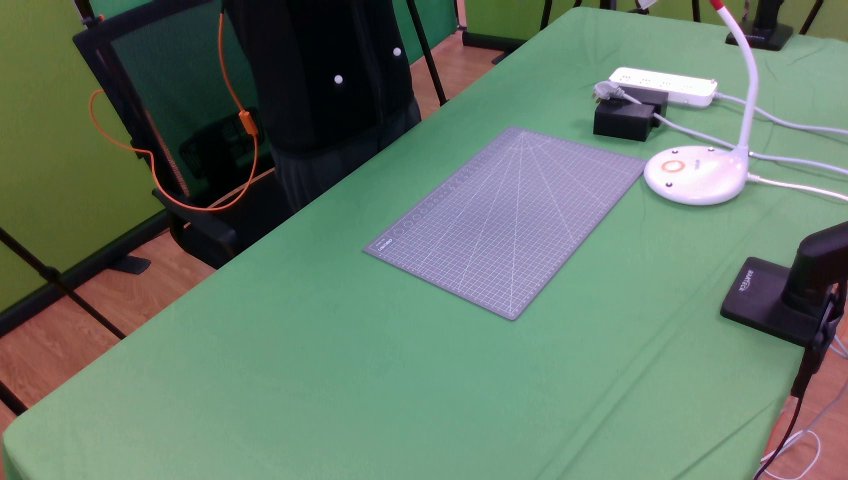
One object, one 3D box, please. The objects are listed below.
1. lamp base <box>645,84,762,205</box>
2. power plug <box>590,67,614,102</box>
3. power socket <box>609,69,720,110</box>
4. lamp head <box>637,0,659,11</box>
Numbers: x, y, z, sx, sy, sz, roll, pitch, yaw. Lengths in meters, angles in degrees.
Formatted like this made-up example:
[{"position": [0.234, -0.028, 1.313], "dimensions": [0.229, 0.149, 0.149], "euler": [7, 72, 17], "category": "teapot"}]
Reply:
[{"position": [0.461, -0.170, 0.975], "dimensions": [0.179, 0.181, 0.160], "euler": [3, 41, 11], "category": "lamp base"}, {"position": [0.355, -0.304, 1.198], "dimensions": [0.035, 0.052, 0.072], "euler": [42, 42, -8], "category": "power plug"}, {"position": [0.492, -0.316, 1.256], "dimensions": [0.225, 0.033, 0.072], "euler": [20, 49, 30], "category": "power socket"}, {"position": [0.330, -0.391, 0.827], "dimensions": [0.122, 0.113, 0.112], "euler": [-21, 35, 25], "category": "lamp head"}]
